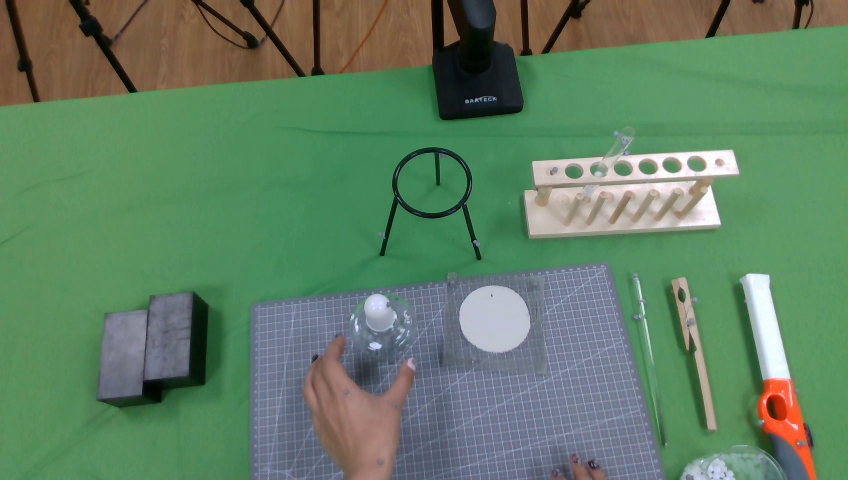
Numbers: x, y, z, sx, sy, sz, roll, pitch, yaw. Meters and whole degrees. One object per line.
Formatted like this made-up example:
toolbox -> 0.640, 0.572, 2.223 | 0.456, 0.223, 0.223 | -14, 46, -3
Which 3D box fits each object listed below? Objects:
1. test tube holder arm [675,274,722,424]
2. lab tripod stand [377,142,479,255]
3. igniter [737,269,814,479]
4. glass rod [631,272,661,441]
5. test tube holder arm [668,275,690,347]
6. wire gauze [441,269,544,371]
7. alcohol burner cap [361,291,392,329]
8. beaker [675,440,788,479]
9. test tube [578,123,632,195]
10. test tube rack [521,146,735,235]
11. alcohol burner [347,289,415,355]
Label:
test tube holder arm -> 0.319, 0.124, 0.709 | 0.013, 0.015, 0.177 | -23, 61, 33
lab tripod stand -> 0.005, -0.041, 0.725 | 0.148, 0.132, 0.147 | 0, 69, 1
igniter -> 0.398, 0.165, 0.688 | 0.057, 0.025, 0.274 | 5, 66, -8
glass rod -> 0.261, 0.133, 0.714 | 0.008, 0.008, 0.198 | -1, 69, 0
test tube holder arm -> 0.310, 0.085, 0.730 | 0.010, 0.015, 0.087 | -22, 62, 34
wire gauze -> 0.083, 0.093, 0.732 | 0.125, 0.011, 0.120 | 4, 68, 2
alcohol burner cap -> -0.052, 0.071, 0.646 | 0.034, 0.048, 0.033 | 0, 60, 1
beaker -> 0.303, 0.245, 0.616 | 0.083, 0.101, 0.073 | 23, 68, 12
test tube -> 0.210, -0.091, 0.715 | 0.017, 0.151, 0.017 | 2, 68, -4
test tube rack -> 0.250, -0.060, 0.755 | 0.242, 0.086, 0.066 | -3, 66, 0
alcohol burner -> -0.050, 0.087, 0.678 | 0.078, 0.120, 0.077 | -1, 67, 3
